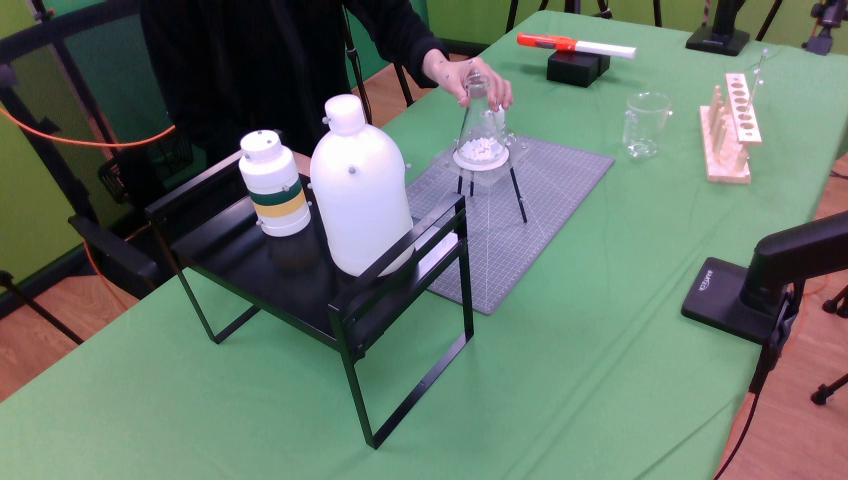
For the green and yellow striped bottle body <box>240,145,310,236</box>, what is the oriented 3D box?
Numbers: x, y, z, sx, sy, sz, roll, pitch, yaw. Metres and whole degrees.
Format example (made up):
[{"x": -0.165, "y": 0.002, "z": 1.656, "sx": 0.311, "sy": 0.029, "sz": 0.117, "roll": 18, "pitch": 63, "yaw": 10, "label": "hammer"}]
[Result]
[{"x": -0.181, "y": -0.068, "z": 0.729, "sx": 0.063, "sy": 0.120, "sz": 0.063, "roll": -4, "pitch": 40, "yaw": 4, "label": "green and yellow striped bottle body"}]

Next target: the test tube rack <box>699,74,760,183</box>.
[{"x": 0.547, "y": -0.208, "z": 1.095, "sx": 0.066, "sy": 0.085, "sz": 0.242, "roll": 6, "pitch": 42, "yaw": 16, "label": "test tube rack"}]

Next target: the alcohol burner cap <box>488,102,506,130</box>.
[{"x": 0.133, "y": -0.227, "z": 1.092, "sx": 0.034, "sy": 0.048, "sz": 0.033, "roll": -1, "pitch": 47, "yaw": 2, "label": "alcohol burner cap"}]

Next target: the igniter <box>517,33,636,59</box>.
[{"x": 0.336, "y": -0.441, "z": 1.369, "sx": 0.275, "sy": 0.025, "sz": 0.057, "roll": 16, "pitch": 41, "yaw": 23, "label": "igniter"}]

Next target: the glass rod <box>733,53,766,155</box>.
[{"x": 0.540, "y": -0.220, "z": 1.006, "sx": 0.008, "sy": 0.201, "sz": 0.008, "roll": -5, "pitch": 45, "yaw": 6, "label": "glass rod"}]

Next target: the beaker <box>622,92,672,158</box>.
[{"x": 0.402, "y": -0.209, "z": 1.106, "sx": 0.074, "sy": 0.101, "sz": 0.083, "roll": -9, "pitch": 40, "yaw": -2, "label": "beaker"}]

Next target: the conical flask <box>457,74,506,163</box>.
[{"x": 0.082, "y": -0.181, "z": 0.893, "sx": 0.075, "sy": 0.122, "sz": 0.075, "roll": -4, "pitch": 41, "yaw": 4, "label": "conical flask"}]

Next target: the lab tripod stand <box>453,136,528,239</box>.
[{"x": 0.094, "y": -0.086, "z": 0.974, "sx": 0.148, "sy": 0.132, "sz": 0.147, "roll": -4, "pitch": 43, "yaw": 4, "label": "lab tripod stand"}]

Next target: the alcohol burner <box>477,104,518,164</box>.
[{"x": 0.135, "y": -0.200, "z": 1.117, "sx": 0.078, "sy": 0.119, "sz": 0.077, "roll": -4, "pitch": 43, "yaw": 4, "label": "alcohol burner"}]

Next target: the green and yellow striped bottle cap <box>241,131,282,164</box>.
[{"x": -0.187, "y": -0.107, "z": 0.695, "sx": 0.045, "sy": 0.020, "sz": 0.045, "roll": -3, "pitch": 39, "yaw": 3, "label": "green and yellow striped bottle cap"}]

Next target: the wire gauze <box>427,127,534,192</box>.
[{"x": 0.086, "y": -0.130, "z": 0.925, "sx": 0.124, "sy": 0.011, "sz": 0.122, "roll": 28, "pitch": 54, "yaw": 31, "label": "wire gauze"}]

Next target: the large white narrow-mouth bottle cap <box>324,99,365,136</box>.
[{"x": -0.076, "y": -0.119, "z": 0.586, "sx": 0.038, "sy": 0.024, "sz": 0.037, "roll": -3, "pitch": 42, "yaw": 3, "label": "large white narrow-mouth bottle cap"}]

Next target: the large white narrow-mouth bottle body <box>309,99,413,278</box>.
[{"x": -0.069, "y": -0.057, "z": 0.645, "sx": 0.102, "sy": 0.195, "sz": 0.101, "roll": -3, "pitch": 42, "yaw": 3, "label": "large white narrow-mouth bottle body"}]
